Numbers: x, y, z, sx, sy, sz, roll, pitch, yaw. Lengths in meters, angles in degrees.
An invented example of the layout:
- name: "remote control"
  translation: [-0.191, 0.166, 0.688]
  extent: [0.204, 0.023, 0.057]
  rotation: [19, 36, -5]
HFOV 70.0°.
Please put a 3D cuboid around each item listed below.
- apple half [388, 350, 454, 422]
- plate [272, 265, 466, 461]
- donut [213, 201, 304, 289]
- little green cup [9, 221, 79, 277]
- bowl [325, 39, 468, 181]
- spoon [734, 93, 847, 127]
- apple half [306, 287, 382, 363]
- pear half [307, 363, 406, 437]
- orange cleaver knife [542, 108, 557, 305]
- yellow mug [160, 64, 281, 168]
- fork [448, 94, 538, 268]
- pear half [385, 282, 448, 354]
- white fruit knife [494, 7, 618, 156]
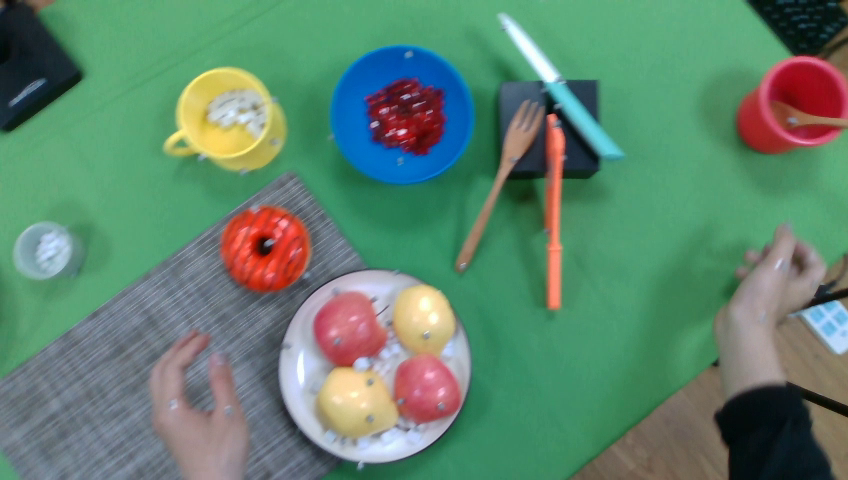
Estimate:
- name: "apple half"
  translation: [-0.011, 0.158, 0.644]
  extent: [0.081, 0.033, 0.081]
  rotation: [2, 97, 20]
- name: "plate"
  translation: [-0.058, 0.131, 0.663]
  extent: [0.209, 0.038, 0.208]
  rotation: [0, 85, -1]
- name: "donut"
  translation: [-0.182, 0.005, 0.669]
  extent: [0.099, 0.048, 0.099]
  rotation: [0, 87, 2]
- name: "little green cup"
  translation: [-0.419, 0.012, 0.674]
  extent: [0.061, 0.039, 0.061]
  rotation: [0, 85, 0]
- name: "bowl"
  translation: [-0.028, -0.133, 0.669]
  extent: [0.151, 0.077, 0.151]
  rotation: [0, 86, -1]
- name: "spoon"
  translation: [0.427, -0.129, 0.638]
  extent: [0.022, 0.192, 0.041]
  rotation: [35, 82, -42]
- name: "apple half"
  translation: [-0.088, 0.093, 0.648]
  extent: [0.074, 0.053, 0.080]
  rotation: [-20, 88, -1]
- name: "pear half"
  translation: [-0.068, 0.179, 0.645]
  extent: [0.110, 0.056, 0.076]
  rotation: [25, 90, -2]
- name: "orange cleaver knife"
  translation: [0.135, -0.033, 0.660]
  extent: [0.012, 0.077, 0.212]
  rotation: [-1, 111, 5]
- name: "yellow mug"
  translation: [-0.231, -0.129, 0.673]
  extent: [0.131, 0.064, 0.099]
  rotation: [-27, 86, -2]
- name: "fork"
  translation: [0.071, -0.059, 0.659]
  extent: [0.028, 0.018, 0.208]
  rotation: [22, 106, -6]
- name: "pear half"
  translation: [-0.012, 0.090, 0.653]
  extent: [0.070, 0.031, 0.088]
  rotation: [-6, 95, 22]
- name: "white fruit knife"
  translation: [0.139, -0.172, 0.656]
  extent: [0.027, 0.016, 0.207]
  rotation: [-33, 83, -32]
